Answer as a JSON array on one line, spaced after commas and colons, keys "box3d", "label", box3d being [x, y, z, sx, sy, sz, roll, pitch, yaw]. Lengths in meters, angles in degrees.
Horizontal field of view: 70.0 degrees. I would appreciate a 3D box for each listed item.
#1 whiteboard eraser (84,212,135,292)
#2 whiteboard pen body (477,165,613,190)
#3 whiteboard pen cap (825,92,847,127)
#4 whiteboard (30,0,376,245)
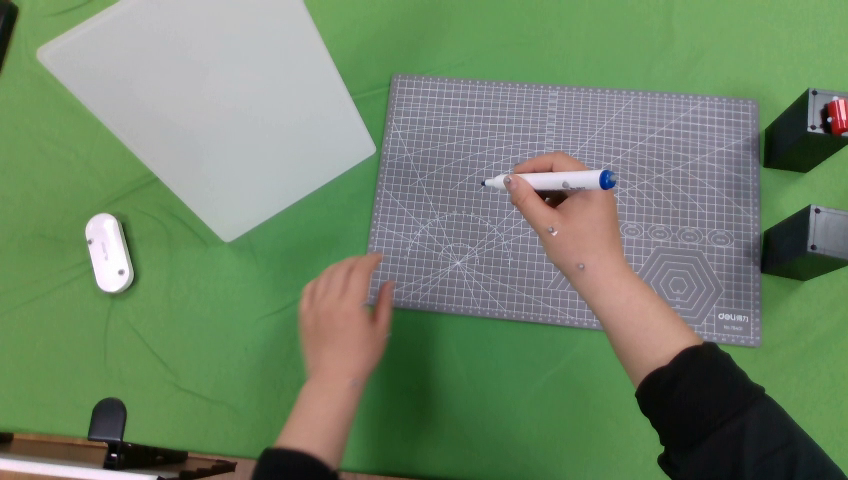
[{"box3d": [-0.379, 0.013, 0.728, 0.041, 0.019, 0.100, -21, 76, -3], "label": "whiteboard eraser"}, {"box3d": [0.093, -0.051, 0.502, 0.139, 0.017, 0.017, 3, 70, 50], "label": "whiteboard pen body"}, {"box3d": [0.418, -0.132, 0.614, 0.017, 0.017, 0.032, 0, 78, 4], "label": "whiteboard pen cap"}, {"box3d": [-0.219, -0.176, 0.652, 0.217, 0.308, 0.142, -33, 56, -4], "label": "whiteboard"}]
